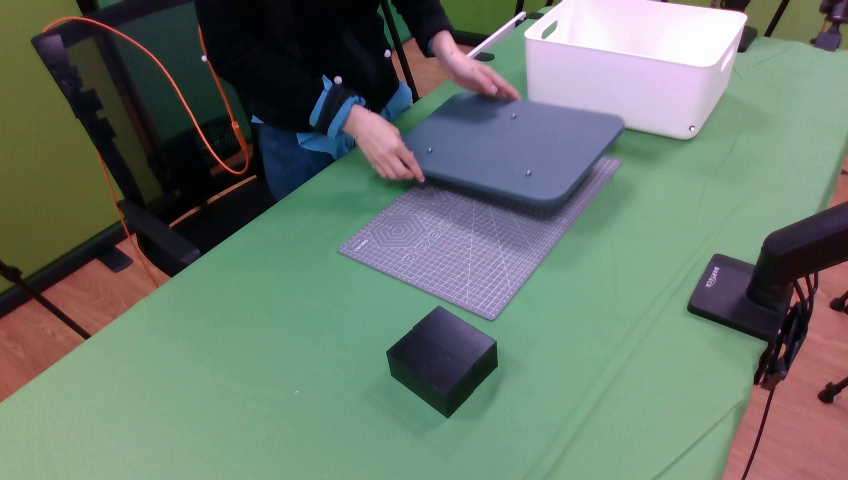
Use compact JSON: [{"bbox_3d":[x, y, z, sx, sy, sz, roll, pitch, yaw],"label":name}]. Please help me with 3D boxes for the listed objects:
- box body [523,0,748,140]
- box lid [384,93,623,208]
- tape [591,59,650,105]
[{"bbox_3d":[0.412,-0.354,1.212,0.361,0.161,0.254,20,48,29],"label":"box body"},{"bbox_3d":[0.135,-0.172,1.072,0.368,0.015,0.264,19,50,34],"label":"box lid"},{"bbox_3d":[0.407,-0.330,1.259,0.117,0.053,0.116,-2,40,2],"label":"tape"}]
